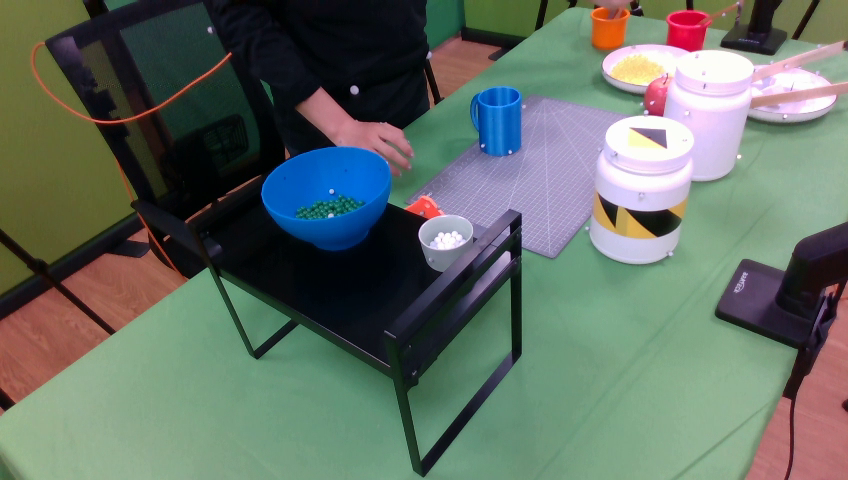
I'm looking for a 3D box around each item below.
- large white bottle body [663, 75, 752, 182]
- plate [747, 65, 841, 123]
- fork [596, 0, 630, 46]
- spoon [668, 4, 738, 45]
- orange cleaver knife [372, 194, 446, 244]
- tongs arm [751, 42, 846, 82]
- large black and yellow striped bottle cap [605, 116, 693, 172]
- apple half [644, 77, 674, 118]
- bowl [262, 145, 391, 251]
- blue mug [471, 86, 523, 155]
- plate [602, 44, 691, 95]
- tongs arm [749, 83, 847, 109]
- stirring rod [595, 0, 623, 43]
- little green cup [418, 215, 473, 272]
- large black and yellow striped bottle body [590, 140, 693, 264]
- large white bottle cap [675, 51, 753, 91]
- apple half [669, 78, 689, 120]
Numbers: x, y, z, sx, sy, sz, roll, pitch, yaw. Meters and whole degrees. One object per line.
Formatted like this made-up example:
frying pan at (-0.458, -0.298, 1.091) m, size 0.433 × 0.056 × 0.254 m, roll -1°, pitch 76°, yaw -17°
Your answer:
large white bottle body at (0.472, -0.207, 1.022) m, size 0.130 × 0.185 × 0.130 m, roll -4°, pitch 41°, yaw 4°
plate at (0.694, -0.282, 1.189) m, size 0.207 × 0.039 × 0.206 m, roll -4°, pitch 40°, yaw 4°
fork at (0.481, -0.556, 1.452) m, size 0.028 × 0.019 × 0.207 m, roll 40°, pitch 103°, yaw 40°
spoon at (0.618, -0.478, 1.346) m, size 0.042 × 0.193 × 0.021 m, roll -25°, pitch 89°, yaw -20°
orange cleaver knife at (-0.032, -0.026, 0.964) m, size 0.210 × 0.077 × 0.012 m, roll -9°, pitch 29°, yaw 51°
tongs arm at (0.708, -0.331, 1.193) m, size 0.386 × 0.026 × 0.050 m, roll -18°, pitch 45°, yaw -16°
large black and yellow striped bottle cap at (0.309, -0.134, 0.833) m, size 0.115 × 0.019 × 0.114 m, roll -5°, pitch 40°, yaw 5°
apple half at (0.463, -0.279, 1.194) m, size 0.053 × 0.075 × 0.081 m, roll 8°, pitch 46°, yaw 24°
bowl at (-0.108, -0.041, 0.723) m, size 0.151 × 0.077 × 0.150 m, roll -4°, pitch 40°, yaw 4°
blue mug at (0.135, -0.235, 1.163) m, size 0.082 × 0.106 × 0.115 m, roll -36°, pitch 48°, yaw -29°
plate at (0.495, -0.367, 1.317) m, size 0.209 × 0.038 × 0.208 m, roll -4°, pitch 40°, yaw 4°
tongs arm at (0.734, -0.280, 1.133) m, size 0.388 × 0.028 × 0.028 m, roll -9°, pitch 47°, yaw -5°
stirring rod at (0.460, -0.556, 1.460) m, size 0.014 × 0.006 × 0.176 m, roll 30°, pitch 93°, yaw 23°
little green cup at (0.026, 0.005, 0.678) m, size 0.061 × 0.039 × 0.061 m, roll -4°, pitch 40°, yaw 4°
large black and yellow striped bottle body at (0.317, -0.071, 0.889) m, size 0.131 × 0.185 × 0.130 m, roll -4°, pitch 41°, yaw 4°
large white bottle cap at (0.463, -0.271, 0.967) m, size 0.115 × 0.018 × 0.114 m, roll -4°, pitch 41°, yaw 4°
apple half at (0.498, -0.273, 1.180) m, size 0.032 × 0.082 × 0.081 m, roll 7°, pitch 42°, yaw 25°
